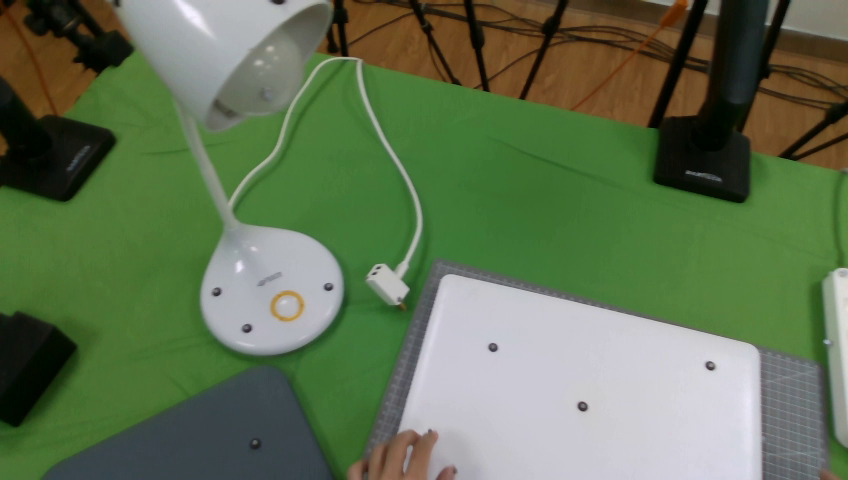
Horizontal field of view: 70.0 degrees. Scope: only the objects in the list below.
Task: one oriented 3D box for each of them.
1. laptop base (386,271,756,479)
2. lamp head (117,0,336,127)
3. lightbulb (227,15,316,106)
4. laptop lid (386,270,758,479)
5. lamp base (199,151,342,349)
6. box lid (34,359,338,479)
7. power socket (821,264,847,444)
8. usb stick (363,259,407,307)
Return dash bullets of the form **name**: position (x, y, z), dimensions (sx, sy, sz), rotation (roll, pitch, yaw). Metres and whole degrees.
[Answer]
- **laptop base**: position (0.160, 0.171, 0.631), dimensions (0.354, 0.023, 0.234), rotation (13, 62, 7)
- **lamp head**: position (-0.134, -0.147, 0.374), dimensions (0.123, 0.112, 0.112), rotation (43, 64, -3)
- **lightbulb**: position (-0.105, -0.136, 0.368), dimensions (0.059, 0.059, 0.108), rotation (-22, 99, -14)
- **laptop lid**: position (0.159, 0.167, 0.620), dimensions (0.356, 0.013, 0.240), rotation (14, 61, 8)
- **lamp base**: position (-0.184, 0.002, 0.638), dimensions (0.160, 0.182, 0.177), rotation (-39, 63, -23)
- **box lid**: position (-0.186, 0.307, 0.545), dimensions (0.263, 0.015, 0.368), rotation (-25, 62, -16)
- **power socket**: position (0.479, 0.123, 0.658), dimensions (0.072, 0.033, 0.225), rotation (15, 58, 7)
- **usb stick**: position (-0.040, 0.051, 0.688), dimensions (0.021, 0.059, 0.027), rotation (-8, 37, 49)
